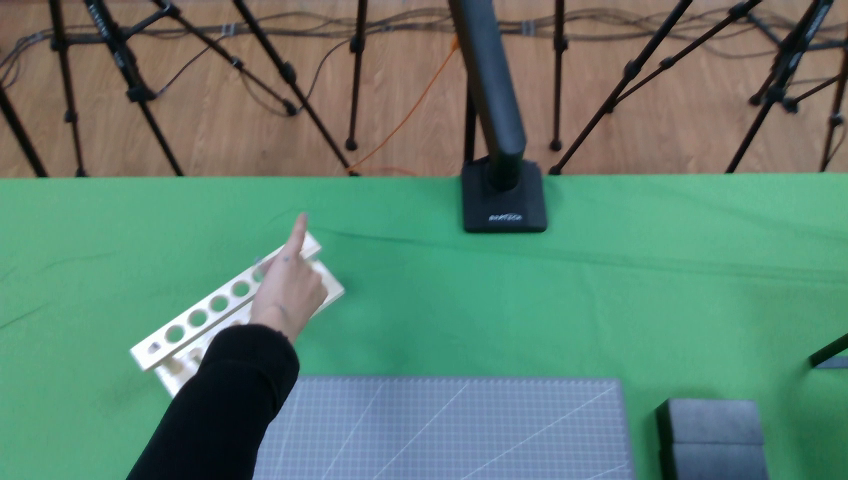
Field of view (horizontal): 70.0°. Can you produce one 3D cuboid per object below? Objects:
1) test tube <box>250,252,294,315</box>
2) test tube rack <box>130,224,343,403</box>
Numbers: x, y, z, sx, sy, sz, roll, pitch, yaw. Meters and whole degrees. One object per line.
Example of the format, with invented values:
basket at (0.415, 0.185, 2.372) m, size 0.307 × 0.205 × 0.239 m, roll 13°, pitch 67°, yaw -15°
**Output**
test tube at (-0.178, 0.054, 0.717) m, size 0.017 × 0.151 × 0.017 m, roll -1°, pitch 60°, yaw 2°
test tube rack at (-0.223, 0.090, 0.752) m, size 0.242 × 0.086 × 0.066 m, roll -37°, pitch 67°, yaw -18°
